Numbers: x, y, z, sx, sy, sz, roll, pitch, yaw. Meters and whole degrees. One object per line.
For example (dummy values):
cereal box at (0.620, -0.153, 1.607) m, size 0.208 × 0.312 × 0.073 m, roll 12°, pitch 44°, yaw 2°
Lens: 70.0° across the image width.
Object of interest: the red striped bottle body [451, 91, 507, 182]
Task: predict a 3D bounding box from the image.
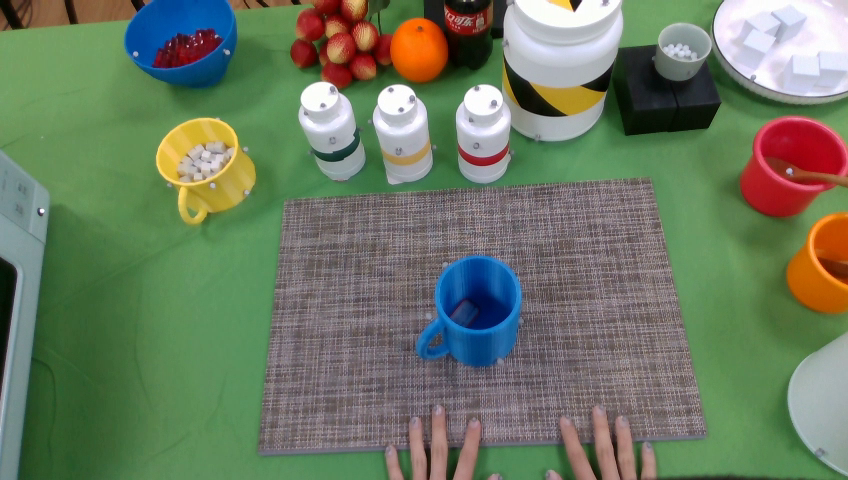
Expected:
red striped bottle body at (0.066, -0.126, 0.709) m, size 0.063 × 0.121 × 0.062 m, roll -3°, pitch 61°, yaw 7°

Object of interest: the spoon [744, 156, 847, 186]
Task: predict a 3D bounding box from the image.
spoon at (0.414, -0.066, 0.635) m, size 0.041 × 0.192 × 0.022 m, roll -19°, pitch 108°, yaw -9°

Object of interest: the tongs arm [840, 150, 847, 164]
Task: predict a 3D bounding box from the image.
tongs arm at (0.627, 0.014, 0.636) m, size 0.051 × 0.027 × 0.381 m, roll -36°, pitch 66°, yaw -16°

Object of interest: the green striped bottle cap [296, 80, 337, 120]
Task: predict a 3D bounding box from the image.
green striped bottle cap at (-0.121, -0.158, 0.683) m, size 0.044 × 0.020 × 0.044 m, roll -1°, pitch 63°, yaw 2°

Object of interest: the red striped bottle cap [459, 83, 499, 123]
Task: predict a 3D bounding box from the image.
red striped bottle cap at (0.060, -0.150, 0.663) m, size 0.044 × 0.018 × 0.044 m, roll 0°, pitch 62°, yaw 1°

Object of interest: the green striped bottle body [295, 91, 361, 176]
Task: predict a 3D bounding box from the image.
green striped bottle body at (-0.115, -0.134, 0.729) m, size 0.063 × 0.120 × 0.062 m, roll -2°, pitch 63°, yaw 4°

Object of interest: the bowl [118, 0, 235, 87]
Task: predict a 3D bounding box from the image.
bowl at (-0.327, -0.266, 0.838) m, size 0.151 × 0.077 × 0.150 m, roll -2°, pitch 63°, yaw 4°

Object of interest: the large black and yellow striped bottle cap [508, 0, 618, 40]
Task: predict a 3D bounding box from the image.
large black and yellow striped bottle cap at (0.146, -0.260, 0.637) m, size 0.115 × 0.019 × 0.114 m, roll -3°, pitch 64°, yaw 7°

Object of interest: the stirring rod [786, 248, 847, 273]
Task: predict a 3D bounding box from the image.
stirring rod at (0.432, 0.033, 0.586) m, size 0.014 × 0.006 × 0.174 m, roll -27°, pitch 22°, yaw -14°

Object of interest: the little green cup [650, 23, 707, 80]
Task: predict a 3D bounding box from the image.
little green cup at (0.303, -0.225, 0.727) m, size 0.061 × 0.039 × 0.061 m, roll -1°, pitch 61°, yaw 2°

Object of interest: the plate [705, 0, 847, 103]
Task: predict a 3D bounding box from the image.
plate at (0.470, -0.258, 0.787) m, size 0.209 × 0.038 × 0.207 m, roll -2°, pitch 64°, yaw 4°

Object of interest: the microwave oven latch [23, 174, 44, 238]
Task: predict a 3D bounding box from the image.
microwave oven latch at (-0.485, -0.039, 0.739) m, size 0.030 × 0.030 × 0.078 m, roll -11°, pitch 63°, yaw -1°

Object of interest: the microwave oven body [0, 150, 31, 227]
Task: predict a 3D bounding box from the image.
microwave oven body at (-0.606, 0.100, 0.570) m, size 0.326 × 0.262 × 0.437 m, roll -12°, pitch 63°, yaw -1°

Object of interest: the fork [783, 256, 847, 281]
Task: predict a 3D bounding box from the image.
fork at (0.462, 0.018, 0.585) m, size 0.206 × 0.019 × 0.028 m, roll -15°, pitch 48°, yaw 49°

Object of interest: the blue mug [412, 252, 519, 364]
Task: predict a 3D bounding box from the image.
blue mug at (0.039, 0.080, 0.611) m, size 0.116 × 0.107 × 0.081 m, roll -32°, pitch 64°, yaw -10°

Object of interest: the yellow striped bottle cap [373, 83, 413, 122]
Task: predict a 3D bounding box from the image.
yellow striped bottle cap at (-0.035, -0.153, 0.672) m, size 0.044 × 0.019 × 0.044 m, roll 0°, pitch 60°, yaw 0°

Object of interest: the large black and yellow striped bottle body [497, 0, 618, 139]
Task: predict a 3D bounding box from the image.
large black and yellow striped bottle body at (0.153, -0.222, 0.714) m, size 0.131 × 0.185 × 0.129 m, roll -2°, pitch 63°, yaw 4°

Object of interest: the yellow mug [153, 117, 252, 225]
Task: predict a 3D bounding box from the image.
yellow mug at (-0.276, -0.080, 0.746) m, size 0.100 × 0.064 × 0.130 m, roll 6°, pitch 64°, yaw 8°

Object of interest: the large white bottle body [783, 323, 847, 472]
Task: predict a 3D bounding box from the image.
large white bottle body at (0.411, 0.124, 0.515) m, size 0.130 × 0.186 × 0.129 m, roll -2°, pitch 63°, yaw 4°

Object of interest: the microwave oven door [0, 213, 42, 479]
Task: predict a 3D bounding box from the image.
microwave oven door at (-0.455, 0.105, 0.549) m, size 0.039 × 0.246 × 0.352 m, roll -12°, pitch 63°, yaw 0°

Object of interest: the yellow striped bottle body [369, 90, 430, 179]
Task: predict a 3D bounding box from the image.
yellow striped bottle body at (-0.029, -0.130, 0.719) m, size 0.063 × 0.121 × 0.062 m, roll -2°, pitch 62°, yaw 5°
